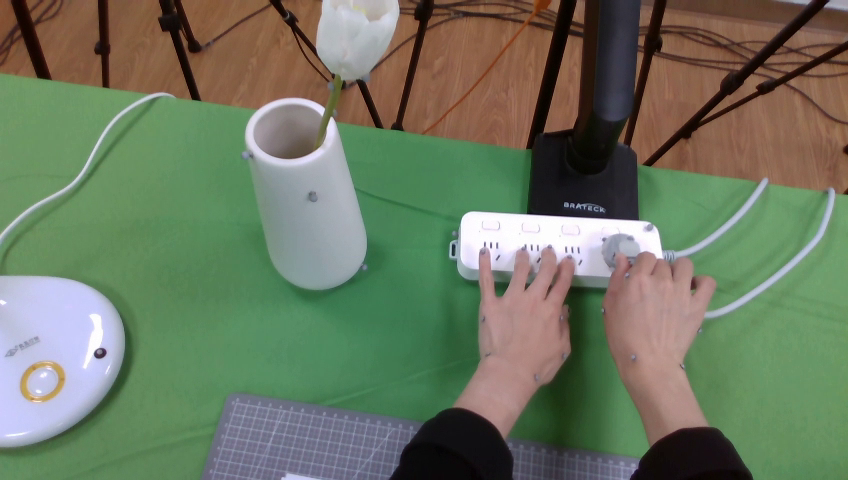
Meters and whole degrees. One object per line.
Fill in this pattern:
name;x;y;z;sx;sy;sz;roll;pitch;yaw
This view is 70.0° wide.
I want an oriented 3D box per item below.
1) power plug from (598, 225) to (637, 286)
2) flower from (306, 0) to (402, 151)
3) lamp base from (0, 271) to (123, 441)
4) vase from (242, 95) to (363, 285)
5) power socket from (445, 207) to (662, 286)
power plug;0.186;0.018;0.591;0.035;0.053;0.072;14;62;6
flower;-0.089;-0.069;0.475;0.044;0.362;0.038;-31;83;-28
lamp base;-0.368;0.057;0.494;0.178;0.182;0.160;38;65;21
vase;-0.110;-0.038;0.551;0.098;0.201;0.097;1;59;-1
power socket;0.136;0.007;0.634;0.227;0.033;0.071;4;61;-1
